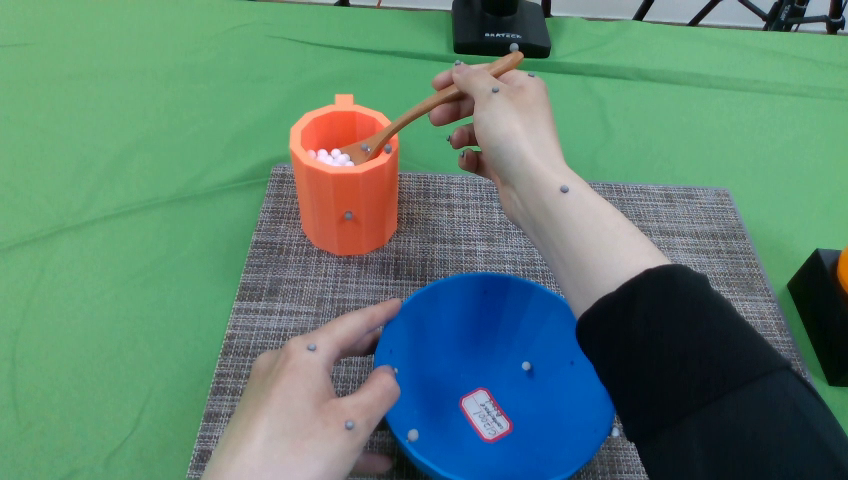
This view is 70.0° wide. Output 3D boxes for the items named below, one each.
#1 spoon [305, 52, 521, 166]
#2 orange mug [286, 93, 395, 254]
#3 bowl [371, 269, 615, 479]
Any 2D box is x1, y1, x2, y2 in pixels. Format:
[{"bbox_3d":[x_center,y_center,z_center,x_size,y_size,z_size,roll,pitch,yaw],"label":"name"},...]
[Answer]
[{"bbox_3d":[-0.014,-0.093,0.465,0.193,0.022,0.041,-26,67,20],"label":"spoon"},{"bbox_3d":[-0.070,-0.065,0.521,0.083,0.101,0.125,-3,54,-7],"label":"orange mug"},{"bbox_3d":[0.040,0.101,0.399,0.151,0.077,0.150,3,49,-3],"label":"bowl"}]
